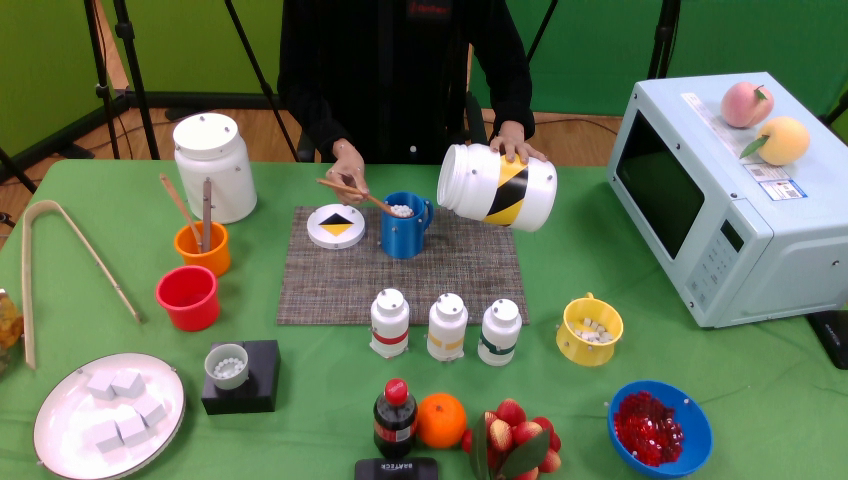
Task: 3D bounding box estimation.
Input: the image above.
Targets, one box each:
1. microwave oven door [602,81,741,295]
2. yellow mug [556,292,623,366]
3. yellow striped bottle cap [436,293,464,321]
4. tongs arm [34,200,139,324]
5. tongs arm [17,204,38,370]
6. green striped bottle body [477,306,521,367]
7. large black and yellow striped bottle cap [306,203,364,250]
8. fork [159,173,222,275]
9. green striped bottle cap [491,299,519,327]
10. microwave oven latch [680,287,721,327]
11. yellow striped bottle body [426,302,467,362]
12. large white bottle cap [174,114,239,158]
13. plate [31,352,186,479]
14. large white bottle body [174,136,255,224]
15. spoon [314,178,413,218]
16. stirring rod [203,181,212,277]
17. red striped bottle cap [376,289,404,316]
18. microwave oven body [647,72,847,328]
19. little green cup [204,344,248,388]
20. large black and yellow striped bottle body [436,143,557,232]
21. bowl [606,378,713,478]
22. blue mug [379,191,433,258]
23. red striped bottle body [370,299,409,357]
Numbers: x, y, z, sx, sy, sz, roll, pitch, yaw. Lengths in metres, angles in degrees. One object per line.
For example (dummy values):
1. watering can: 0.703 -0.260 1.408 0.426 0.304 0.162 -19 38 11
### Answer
1. microwave oven door: 0.456 -0.107 1.162 0.039 0.245 0.353 -7 47 -10
2. yellow mug: 0.285 0.145 1.051 0.100 0.064 0.130 7 45 3
3. yellow striped bottle cap: 0.041 0.106 0.959 0.044 0.019 0.044 -1 49 1
4. tongs arm: -0.622 0.034 1.105 0.051 0.026 0.382 -32 56 -26
5. tongs arm: -0.698 0.069 1.069 0.028 0.028 0.385 -20 50 -13
6. green striped bottle body: 0.124 0.151 0.995 0.063 0.120 0.063 2 46 -2
7. large black and yellow striped bottle cap: -0.178 -0.029 1.211 0.115 0.019 0.114 2 47 -2
8. fork: -0.426 -0.029 1.103 0.028 0.018 0.207 -30 99 -27
9. green striped bottle cap: 0.128 0.115 0.958 0.044 0.020 0.044 1 46 -1
10. microwave oven latch: 0.494 0.119 1.087 0.030 0.029 0.078 -6 46 -10
11. yellow striped bottle body: 0.037 0.142 0.996 0.063 0.121 0.062 2 46 -2
12. large white bottle cap: -0.403 -0.195 1.122 0.115 0.018 0.114 2 47 -2
13. plate: -0.459 0.262 0.898 0.209 0.038 0.208 2 46 -2
14. large white bottle body: -0.408 -0.136 1.183 0.131 0.185 0.130 2 46 -2
15. spoon: -0.106 -0.077 1.083 0.194 0.021 0.041 23 22 -27
16. stirring rod: -0.396 -0.021 1.107 0.014 0.006 0.176 -1 89 -1
17. red striped bottle cap: -0.054 0.098 0.958 0.044 0.018 0.044 0 48 0
18. microwave oven body: 0.607 -0.089 1.164 0.326 0.261 0.438 -7 46 -10
19. little green cup: -0.294 0.191 0.909 0.061 0.039 0.061 1 48 -1
20. large black and yellow striped bottle body: 0.122 -0.094 1.060 0.184 0.131 0.130 12 45 -12
21. bowl: 0.340 0.292 0.906 0.151 0.077 0.150 2 46 -2
22. blue mug: -0.031 -0.036 1.167 0.116 0.106 0.082 -27 54 -27
23. red striped bottle body: -0.057 0.135 0.996 0.063 0.120 0.062 2 47 -2
